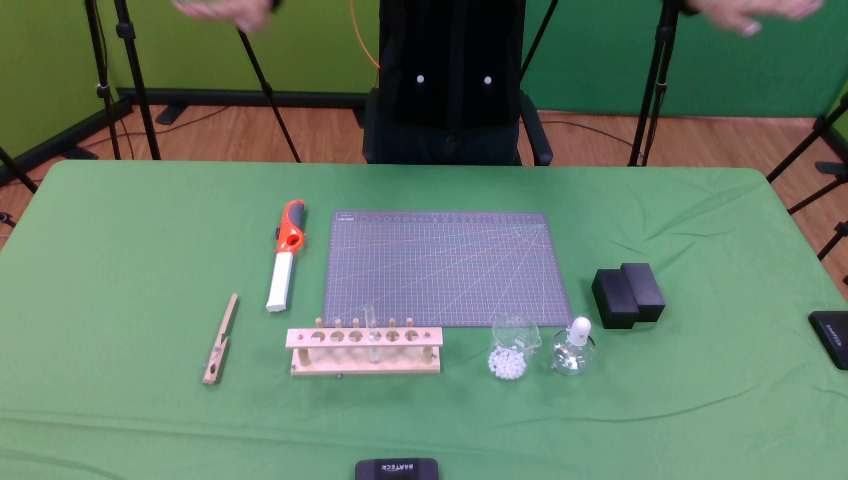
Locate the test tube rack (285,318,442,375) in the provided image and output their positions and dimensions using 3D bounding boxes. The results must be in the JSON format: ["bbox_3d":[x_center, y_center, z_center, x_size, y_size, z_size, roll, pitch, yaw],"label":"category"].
[{"bbox_3d":[-0.095,0.168,0.986,0.242,0.085,0.066,0,46,-4],"label":"test tube rack"}]

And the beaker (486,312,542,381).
[{"bbox_3d":[0.144,0.177,0.985,0.084,0.101,0.074,22,49,16],"label":"beaker"}]

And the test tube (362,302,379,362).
[{"bbox_3d":[-0.081,0.146,0.939,0.017,0.151,0.017,0,47,1],"label":"test tube"}]

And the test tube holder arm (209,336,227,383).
[{"bbox_3d":[-0.338,0.193,0.991,0.010,0.015,0.087,28,39,-25],"label":"test tube holder arm"}]

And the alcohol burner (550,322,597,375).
[{"bbox_3d":[0.248,0.168,0.991,0.078,0.119,0.077,2,48,-2],"label":"alcohol burner"}]

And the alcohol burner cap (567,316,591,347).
[{"bbox_3d":[0.249,0.143,0.965,0.034,0.048,0.033,4,40,-3],"label":"alcohol burner cap"}]

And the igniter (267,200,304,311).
[{"bbox_3d":[-0.263,0.020,1.156,0.057,0.025,0.274,-6,46,4],"label":"igniter"}]

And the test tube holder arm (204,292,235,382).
[{"bbox_3d":[-0.343,0.159,1.020,0.013,0.015,0.177,27,39,-26],"label":"test tube holder arm"}]
